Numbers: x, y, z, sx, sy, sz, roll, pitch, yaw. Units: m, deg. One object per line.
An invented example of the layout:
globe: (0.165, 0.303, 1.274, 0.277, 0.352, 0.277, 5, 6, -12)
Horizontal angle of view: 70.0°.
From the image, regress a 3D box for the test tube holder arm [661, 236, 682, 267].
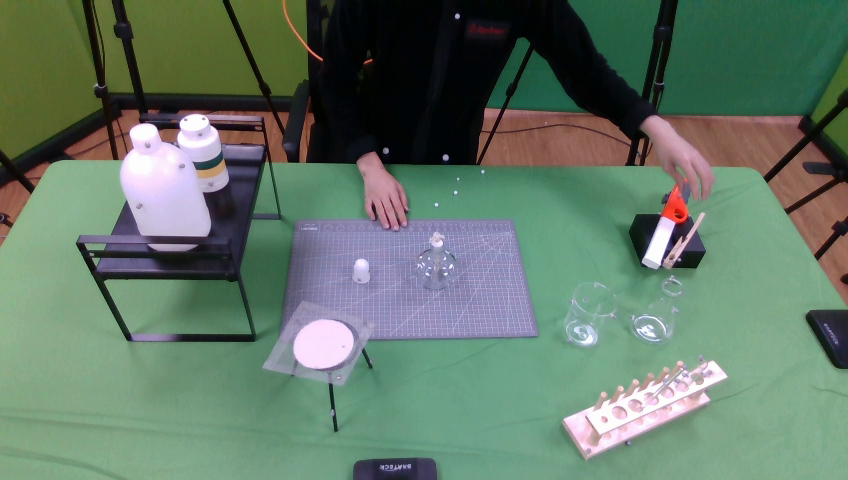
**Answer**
test tube holder arm: (0.474, 0.021, 1.148, 0.010, 0.015, 0.088, 33, 53, 24)

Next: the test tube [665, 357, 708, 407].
test tube: (0.387, 0.215, 0.905, 0.017, 0.151, 0.017, 1, 53, -1)

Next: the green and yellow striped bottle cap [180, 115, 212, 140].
green and yellow striped bottle cap: (-0.358, -0.177, 0.951, 0.045, 0.020, 0.045, 1, 44, -1)

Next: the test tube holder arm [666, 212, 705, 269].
test tube holder arm: (0.506, -0.001, 1.171, 0.013, 0.015, 0.178, 32, 53, 23)

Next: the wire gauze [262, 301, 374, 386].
wire gauze: (-0.150, 0.148, 0.873, 0.121, 0.011, 0.124, 14, 46, 12)

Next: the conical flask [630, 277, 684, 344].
conical flask: (0.408, 0.117, 1.045, 0.075, 0.122, 0.075, 2, 46, -2)

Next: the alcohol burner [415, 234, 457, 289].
alcohol burner: (0.022, 0.033, 1.100, 0.078, 0.120, 0.077, 1, 47, -1)

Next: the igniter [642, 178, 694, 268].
igniter: (0.488, -0.042, 1.205, 0.057, 0.025, 0.276, 30, 52, 11)

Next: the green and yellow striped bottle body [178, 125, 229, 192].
green and yellow striped bottle body: (-0.361, -0.142, 0.989, 0.063, 0.120, 0.063, 2, 46, -2)

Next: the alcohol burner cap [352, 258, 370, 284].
alcohol burner cap: (-0.117, 0.055, 1.118, 0.034, 0.048, 0.033, 1, 46, -1)

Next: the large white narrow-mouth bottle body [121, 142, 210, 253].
large white narrow-mouth bottle body: (-0.378, -0.077, 0.875, 0.102, 0.195, 0.101, 3, 46, -3)

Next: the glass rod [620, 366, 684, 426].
glass rod: (0.322, 0.227, 0.866, 0.008, 0.200, 0.008, 5, 51, -7)

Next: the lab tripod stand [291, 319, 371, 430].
lab tripod stand: (-0.146, 0.194, 0.923, 0.148, 0.132, 0.147, 1, 47, -1)

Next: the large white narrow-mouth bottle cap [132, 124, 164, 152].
large white narrow-mouth bottle cap: (-0.371, -0.137, 0.812, 0.038, 0.024, 0.037, 3, 46, -3)

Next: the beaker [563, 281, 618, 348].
beaker: (0.283, 0.129, 1.041, 0.074, 0.101, 0.083, 11, 46, 7)

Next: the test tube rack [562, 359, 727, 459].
test tube rack: (0.341, 0.247, 0.940, 0.243, 0.085, 0.066, -16, 49, -19)
